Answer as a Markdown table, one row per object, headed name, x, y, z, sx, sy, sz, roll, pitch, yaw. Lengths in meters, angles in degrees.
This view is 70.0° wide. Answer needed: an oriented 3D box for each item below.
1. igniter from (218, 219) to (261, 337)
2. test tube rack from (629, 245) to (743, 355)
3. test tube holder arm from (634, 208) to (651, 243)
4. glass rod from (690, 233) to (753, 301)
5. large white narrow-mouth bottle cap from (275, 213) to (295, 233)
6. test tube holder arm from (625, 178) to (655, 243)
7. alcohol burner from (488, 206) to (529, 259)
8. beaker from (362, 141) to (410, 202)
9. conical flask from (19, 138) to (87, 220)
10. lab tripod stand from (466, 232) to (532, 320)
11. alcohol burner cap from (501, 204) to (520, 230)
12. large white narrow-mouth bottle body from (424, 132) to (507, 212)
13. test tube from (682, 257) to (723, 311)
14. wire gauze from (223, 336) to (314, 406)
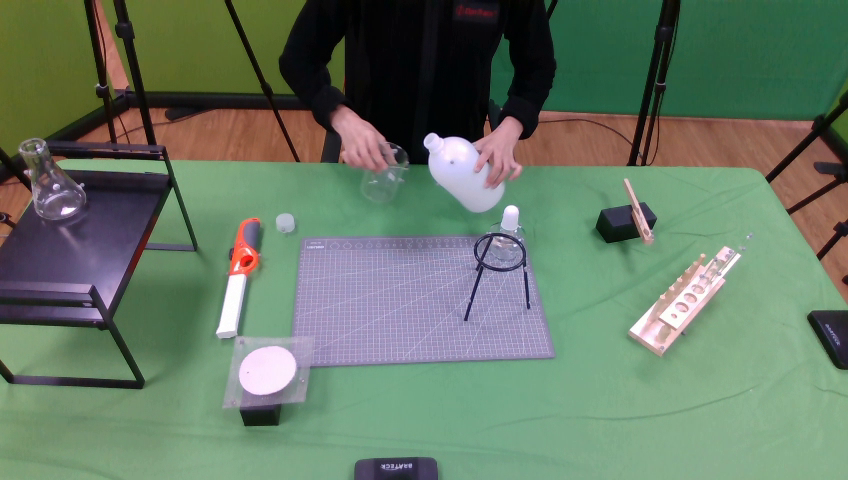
| name | x | y | z | sx | sy | sz | roll | pitch | yaw |
| --- | --- | --- | --- | --- | --- | --- | --- | --- | --- |
| igniter | -0.336 | 0.060 | 1.111 | 0.057 | 0.025 | 0.274 | -8 | 46 | 4 |
| test tube rack | 0.474 | 0.095 | 1.091 | 0.242 | 0.085 | 0.066 | -34 | 56 | -31 |
| test tube holder arm | 0.428 | -0.030 | 1.189 | 0.010 | 0.015 | 0.087 | 1 | 47 | -2 |
| glass rod | 0.507 | 0.053 | 1.041 | 0.008 | 0.200 | 0.008 | 5 | 51 | -6 |
| large white narrow-mouth bottle cap | -0.277 | -0.034 | 1.213 | 0.038 | 0.024 | 0.037 | 3 | 46 | -3 |
| test tube holder arm | 0.433 | -0.062 | 1.220 | 0.013 | 0.015 | 0.177 | 1 | 47 | -3 |
| alcohol burner | 0.163 | -0.020 | 1.158 | 0.078 | 0.120 | 0.077 | 0 | 47 | 0 |
| beaker | -0.075 | -0.128 | 1.168 | 0.084 | 0.100 | 0.074 | 32 | 44 | 8 |
| conical flask | -0.576 | -0.097 | 0.930 | 0.075 | 0.122 | 0.075 | 2 | 46 | -2 |
| lab tripod stand | 0.125 | 0.059 | 1.065 | 0.148 | 0.132 | 0.147 | 1 | 45 | 0 |
| alcohol burner cap | 0.164 | -0.046 | 1.133 | 0.034 | 0.048 | 0.033 | 2 | 40 | -1 |
| large white narrow-mouth bottle body | 0.071 | -0.142 | 1.173 | 0.102 | 0.196 | 0.101 | -26 | 45 | 30 |
| test tube | 0.475 | 0.080 | 1.037 | 0.017 | 0.151 | 0.017 | 1 | 51 | -1 |
| wire gauze | -0.237 | 0.197 | 0.931 | 0.121 | 0.011 | 0.124 | 1 | 45 | -4 |
